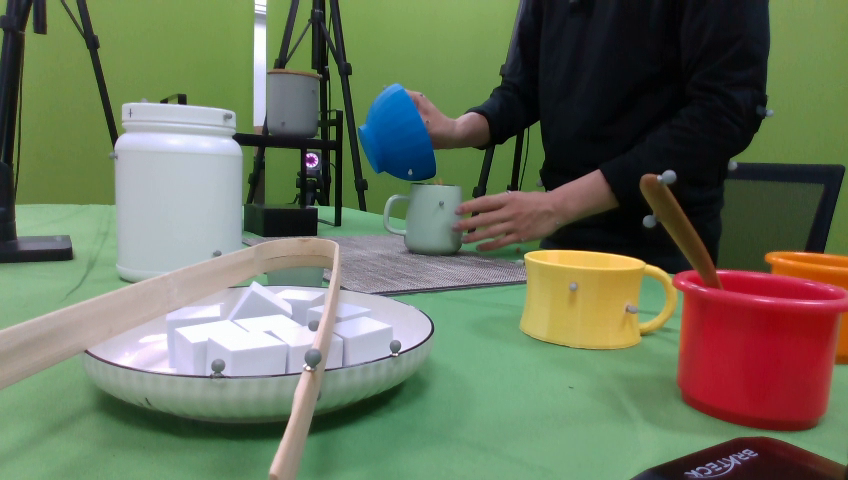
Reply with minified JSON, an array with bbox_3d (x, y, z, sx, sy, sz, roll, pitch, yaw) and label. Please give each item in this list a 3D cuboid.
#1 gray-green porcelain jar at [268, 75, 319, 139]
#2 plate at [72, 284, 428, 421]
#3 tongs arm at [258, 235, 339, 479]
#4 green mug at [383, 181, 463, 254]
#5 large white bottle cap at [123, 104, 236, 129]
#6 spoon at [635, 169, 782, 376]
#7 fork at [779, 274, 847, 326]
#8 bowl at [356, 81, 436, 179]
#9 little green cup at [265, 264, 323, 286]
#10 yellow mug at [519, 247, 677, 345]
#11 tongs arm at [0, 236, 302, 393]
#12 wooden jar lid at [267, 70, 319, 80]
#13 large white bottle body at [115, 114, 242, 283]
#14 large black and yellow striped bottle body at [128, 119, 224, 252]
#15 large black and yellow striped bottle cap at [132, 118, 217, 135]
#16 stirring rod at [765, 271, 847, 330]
[{"bbox_3d":[-0.277,-0.279,1.280,0.106,0.126,0.106,2,8,0],"label":"gray-green porcelain jar"},{"bbox_3d":[-0.102,0.067,0.381,0.208,0.039,0.207,3,7,0],"label":"plate"},{"bbox_3d":[-0.074,0.040,0.345,0.051,0.026,0.384,-1,10,-3],"label":"tongs arm"},{"bbox_3d":[-0.001,-0.036,0.922,0.126,0.105,0.092,0,8,-16],"label":"green mug"},{"bbox_3d":[-0.266,-0.134,0.663,0.115,0.018,0.115,3,7,0],"label":"large white bottle cap"},{"bbox_3d":[0.161,0.026,0.346,0.021,0.194,0.041,-51,32,-20],"label":"spoon"},{"bbox_3d":[0.332,0.019,0.443,0.028,0.018,0.207,-3,-35,-16],"label":"fork"},{"bbox_3d":[-0.051,-0.150,0.898,0.077,0.151,0.151,-25,14,-10],"label":"bowl"},{"bbox_3d":[-0.134,0.034,0.628,0.061,0.038,0.061,3,6,0],"label":"little green cup"},{"bbox_3d":[0.148,0.045,0.513,0.131,0.064,0.100,3,6,0],"label":"yellow mug"},{"bbox_3d":[-0.157,0.038,0.347,0.028,0.028,0.388,-3,8,11],"label":"tongs arm"},{"bbox_3d":[-0.275,-0.339,1.271,0.108,0.020,0.108,5,6,0],"label":"wooden jar lid"},{"bbox_3d":[-0.270,-0.051,0.673,0.131,0.184,0.130,2,8,0],"label":"large white bottle body"},{"bbox_3d":[-0.361,-0.081,0.887,0.131,0.184,0.130,2,8,0],"label":"large black and yellow striped bottle body"},{"bbox_3d":[-0.359,-0.164,0.875,0.115,0.019,0.115,2,6,0],"label":"large black and yellow striped bottle cap"},{"bbox_3d":[0.352,0.020,0.481,0.176,0.006,0.014,-40,-8,17],"label":"stirring rod"}]
